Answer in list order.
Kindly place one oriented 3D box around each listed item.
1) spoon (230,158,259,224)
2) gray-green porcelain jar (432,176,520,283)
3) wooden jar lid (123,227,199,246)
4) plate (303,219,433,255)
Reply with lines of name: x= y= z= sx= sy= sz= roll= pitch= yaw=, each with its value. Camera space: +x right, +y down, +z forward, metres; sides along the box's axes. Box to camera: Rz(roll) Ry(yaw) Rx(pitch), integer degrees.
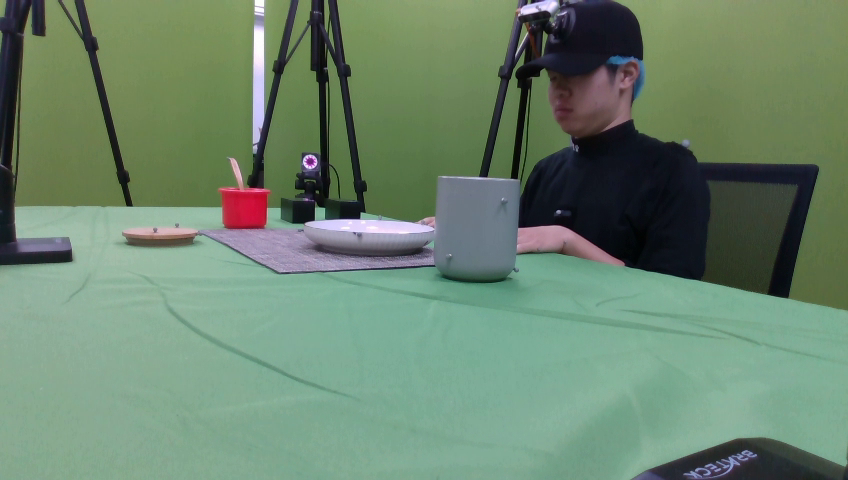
spoon: x=-0.366 y=-0.101 z=1.215 sx=0.042 sy=0.021 sz=0.193 roll=-1 pitch=52 yaw=-30
gray-green porcelain jar: x=0.064 y=-0.015 z=0.759 sx=0.106 sy=0.126 sz=0.106 roll=2 pitch=7 yaw=0
wooden jar lid: x=-0.408 y=-0.006 z=0.942 sx=0.108 sy=0.020 sz=0.108 roll=3 pitch=6 yaw=0
plate: x=-0.084 y=-0.005 z=0.952 sx=0.208 sy=0.039 sz=0.207 roll=3 pitch=7 yaw=0
